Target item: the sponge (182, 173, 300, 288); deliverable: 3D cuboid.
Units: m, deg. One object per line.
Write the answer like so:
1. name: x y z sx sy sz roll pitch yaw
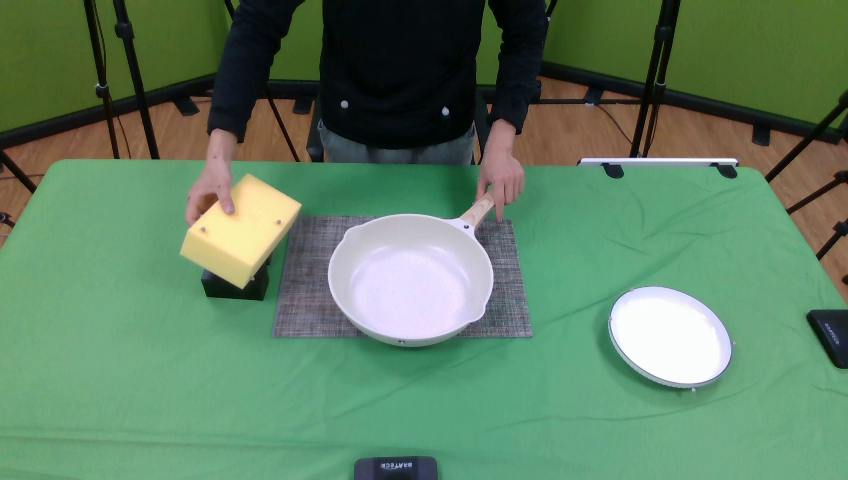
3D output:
1. sponge: -0.318 -0.022 1.075 0.118 0.061 0.206 29 36 -6

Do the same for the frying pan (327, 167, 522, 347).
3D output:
1. frying pan: 0.042 0.009 1.132 0.305 0.103 0.487 34 61 24

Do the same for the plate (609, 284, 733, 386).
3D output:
1. plate: 0.425 0.167 1.059 0.208 0.039 0.206 2 46 -2
